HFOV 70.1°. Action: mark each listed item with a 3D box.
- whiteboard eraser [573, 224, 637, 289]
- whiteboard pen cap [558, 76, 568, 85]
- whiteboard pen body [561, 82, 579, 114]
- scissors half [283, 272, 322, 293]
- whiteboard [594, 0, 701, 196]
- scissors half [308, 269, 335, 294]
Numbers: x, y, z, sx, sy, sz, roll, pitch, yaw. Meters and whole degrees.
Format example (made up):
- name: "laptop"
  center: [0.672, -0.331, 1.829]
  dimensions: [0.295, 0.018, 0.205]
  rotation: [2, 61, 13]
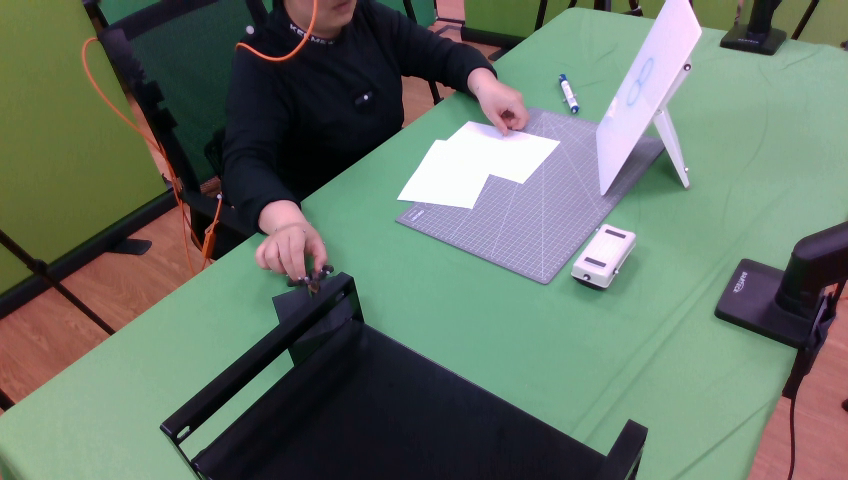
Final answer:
- name: "whiteboard eraser"
  center: [0.267, 0.025, 0.891]
  dimensions: [0.055, 0.042, 0.113]
  rotation: [19, 47, 31]
- name: "whiteboard pen cap"
  center: [0.309, -0.350, 1.340]
  dimensions: [0.018, 0.018, 0.033]
  rotation: [-7, 41, 1]
- name: "whiteboard pen body"
  center: [0.310, -0.311, 1.298]
  dimensions: [0.017, 0.017, 0.140]
  rotation: [-6, 41, 2]
- name: "scissors half"
  center: [-0.171, 0.063, 0.868]
  dimensions: [0.040, 0.013, 0.174]
  rotation: [-14, 9, -24]
- name: "whiteboard"
  center: [0.420, -0.227, 1.010]
  dimensions: [0.144, 0.305, 0.216]
  rotation: [18, 42, -2]
- name: "scissors half"
  center: [-0.151, 0.060, 0.873]
  dimensions: [0.040, 0.013, 0.174]
  rotation: [-6, 7, -5]
